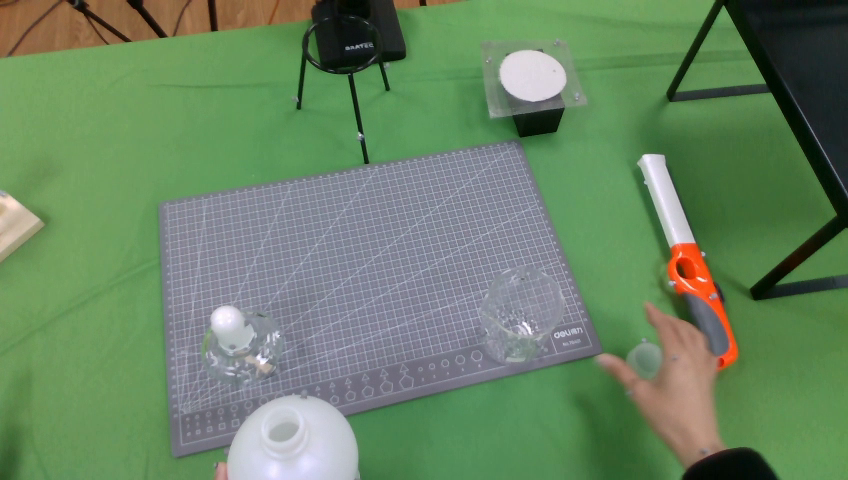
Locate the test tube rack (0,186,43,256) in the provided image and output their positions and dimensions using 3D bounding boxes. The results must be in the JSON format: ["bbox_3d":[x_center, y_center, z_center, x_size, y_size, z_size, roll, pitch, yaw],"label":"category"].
[{"bbox_3d":[-0.536,0.025,0.624,0.066,0.086,0.241,33,66,14],"label":"test tube rack"}]

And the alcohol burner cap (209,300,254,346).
[{"bbox_3d":[-0.178,0.074,0.555,0.034,0.048,0.033,0,57,1],"label":"alcohol burner cap"}]

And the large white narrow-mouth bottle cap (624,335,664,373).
[{"bbox_3d":[0.233,0.121,0.646,0.038,0.024,0.037,1,62,-2],"label":"large white narrow-mouth bottle cap"}]

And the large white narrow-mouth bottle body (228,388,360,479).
[{"bbox_3d":[-0.104,0.178,0.491,0.102,0.196,0.101,2,54,-3],"label":"large white narrow-mouth bottle body"}]

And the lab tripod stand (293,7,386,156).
[{"bbox_3d":[-0.095,-0.196,0.734,0.148,0.132,0.147,2,63,-3],"label":"lab tripod stand"}]

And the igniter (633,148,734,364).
[{"bbox_3d":[0.298,0.009,0.703,0.057,0.025,0.274,-1,62,-15],"label":"igniter"}]

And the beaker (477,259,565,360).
[{"bbox_3d":[0.091,0.076,0.615,0.084,0.101,0.073,-10,62,-6],"label":"beaker"}]

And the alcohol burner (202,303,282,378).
[{"bbox_3d":[-0.179,0.091,0.587,0.078,0.120,0.077,2,60,-3],"label":"alcohol burner"}]

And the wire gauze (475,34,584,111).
[{"bbox_3d":[0.131,-0.218,0.771,0.121,0.011,0.124,-4,62,-5],"label":"wire gauze"}]
